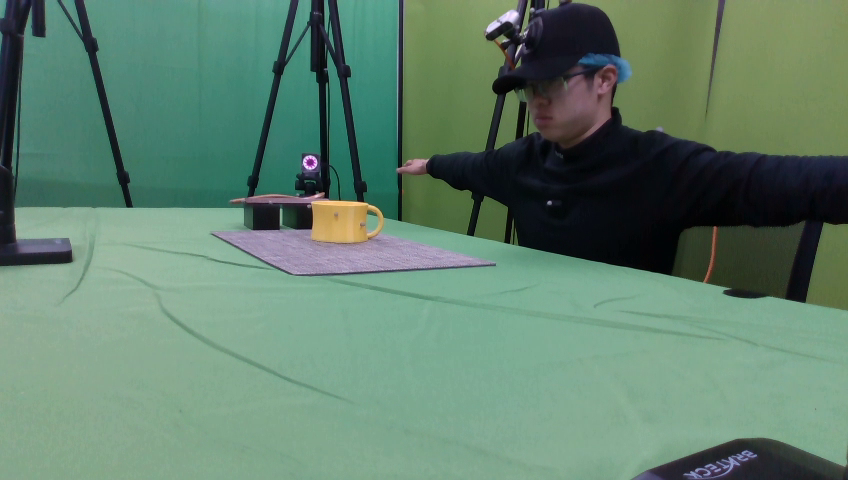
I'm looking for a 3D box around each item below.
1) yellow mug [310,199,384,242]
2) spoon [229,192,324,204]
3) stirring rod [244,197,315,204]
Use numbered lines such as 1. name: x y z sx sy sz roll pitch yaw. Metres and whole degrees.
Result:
1. yellow mug: -0.132 -0.035 1.054 0.131 0.064 0.099 0 8 -23
2. spoon: -0.297 -0.086 1.230 0.195 0.021 0.041 -3 9 -26
3. stirring rod: -0.269 -0.077 1.200 0.177 0.006 0.014 -1 41 -35
